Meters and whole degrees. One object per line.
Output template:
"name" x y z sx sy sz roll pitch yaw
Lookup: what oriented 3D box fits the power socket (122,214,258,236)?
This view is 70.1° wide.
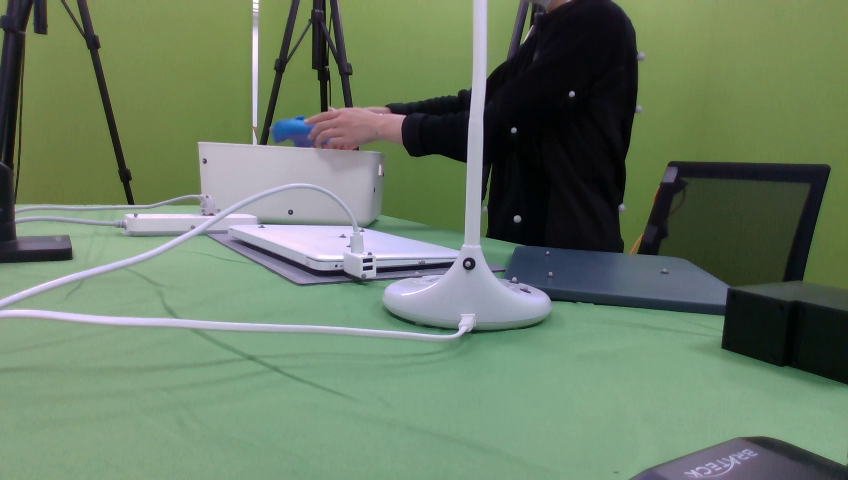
"power socket" -0.398 -0.028 1.049 0.228 0.032 0.072 -3 8 -34

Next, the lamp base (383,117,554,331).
"lamp base" 0.045 -0.019 0.547 0.161 0.180 0.179 2 10 -4

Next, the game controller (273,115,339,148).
"game controller" -0.252 -0.233 1.286 0.097 0.051 0.155 -12 -3 14

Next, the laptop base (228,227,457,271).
"laptop base" -0.123 0.011 0.889 0.237 0.023 0.352 2 6 -35

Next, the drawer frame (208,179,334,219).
"drawer frame" -0.326 -0.093 1.328 0.213 0.082 0.202 -1 5 6

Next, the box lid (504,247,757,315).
"box lid" 0.244 0.044 0.793 0.263 0.015 0.372 4 7 10

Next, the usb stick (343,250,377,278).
"usb stick" -0.076 0.026 0.687 0.021 0.027 0.059 -8 8 -31

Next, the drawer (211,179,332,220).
"drawer" -0.328 -0.095 1.332 0.212 0.073 0.194 5 9 6

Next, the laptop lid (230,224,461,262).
"laptop lid" -0.120 0.000 0.889 0.243 0.013 0.355 1 7 -33

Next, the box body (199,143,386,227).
"box body" -0.276 -0.124 1.334 0.364 0.160 0.254 3 7 1

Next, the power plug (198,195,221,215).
"power plug" -0.387 -0.055 1.089 0.035 0.052 0.072 -1 6 -22
